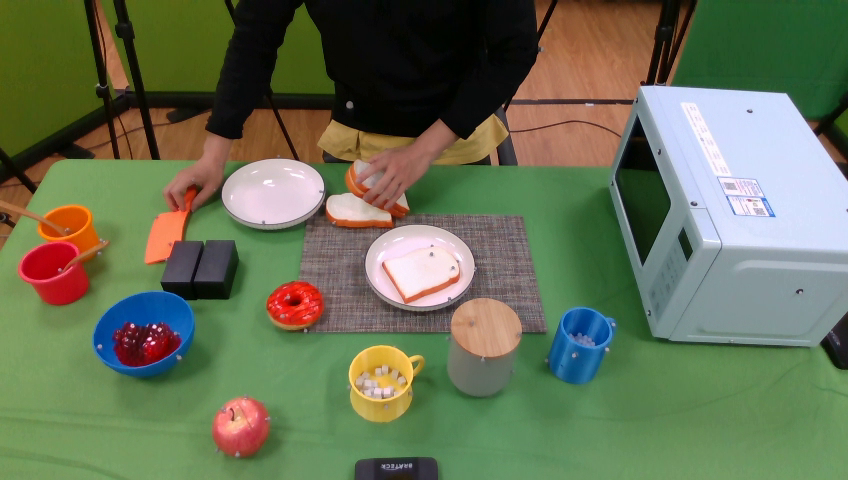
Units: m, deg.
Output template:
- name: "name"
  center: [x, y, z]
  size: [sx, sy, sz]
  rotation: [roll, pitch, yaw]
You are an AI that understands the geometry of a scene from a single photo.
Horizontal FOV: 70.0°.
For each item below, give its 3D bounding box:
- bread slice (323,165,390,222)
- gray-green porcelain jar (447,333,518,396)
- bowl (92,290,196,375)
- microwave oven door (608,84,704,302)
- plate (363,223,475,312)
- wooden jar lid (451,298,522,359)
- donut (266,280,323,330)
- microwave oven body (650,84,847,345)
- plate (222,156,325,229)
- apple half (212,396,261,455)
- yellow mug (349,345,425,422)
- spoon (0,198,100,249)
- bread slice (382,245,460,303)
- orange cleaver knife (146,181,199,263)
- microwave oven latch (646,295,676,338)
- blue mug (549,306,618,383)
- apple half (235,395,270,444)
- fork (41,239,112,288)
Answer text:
- name: "bread slice"
  center: [-0.140, -0.092, 1.224]
  size: [0.134, 0.018, 0.106]
  rotation: [-19, 51, 6]
- name: "gray-green porcelain jar"
  center: [0.091, 0.178, 0.960]
  size: [0.106, 0.127, 0.105]
  rotation: [2, 46, -2]
- name: "bowl"
  center: [-0.436, 0.161, 0.971]
  size: [0.151, 0.077, 0.150]
  rotation: [2, 46, -2]
- name: "microwave oven door"
  center: [0.424, -0.096, 1.138]
  size: [0.039, 0.245, 0.353]
  rotation: [3, 46, -1]
- name: "plate"
  center: [-0.009, 0.054, 1.126]
  size: [0.208, 0.039, 0.206]
  rotation: [2, 46, -2]
- name: "wooden jar lid"
  center: [0.093, 0.135, 0.914]
  size: [0.108, 0.021, 0.107]
  rotation: [3, 48, -3]
- name: "donut"
  center: [-0.223, 0.112, 1.051]
  size: [0.099, 0.048, 0.098]
  rotation: [2, 46, -2]
- name: "microwave oven body"
  center: [0.569, -0.054, 1.116]
  size: [0.326, 0.261, 0.439]
  rotation: [2, 46, -1]
- name: "plate"
  center: [-0.308, -0.095, 1.251]
  size: [0.209, 0.038, 0.208]
  rotation: [3, 46, -3]
- name: "apple half"
  center: [-0.276, 0.276, 0.877]
  size: [0.053, 0.075, 0.080]
  rotation: [-29, 58, -21]
- name: "yellow mug"
  center: [-0.054, 0.217, 0.954]
  size: [0.131, 0.064, 0.099]
  rotation: [-23, 52, -25]
- name: "spoon"
  center: [-0.684, -0.035, 1.092]
  size: [0.021, 0.195, 0.041]
  rotation: [-32, 42, 28]
- name: "bread slice"
  center: [0.000, 0.054, 1.129]
  size: [0.131, 0.019, 0.104]
  rotation: [-20, 52, -20]
- name: "orange cleaver knife"
  center: [-0.494, -0.039, 1.197]
  size: [0.077, 0.012, 0.210]
  rotation: [-6, 48, 5]
- name: "microwave oven latch"
  center: [0.413, 0.133, 1.060]
  size: [0.030, 0.029, 0.078]
  rotation: [4, 46, 1]
- name: "blue mug"
  center: [0.269, 0.167, 0.997]
  size: [0.116, 0.106, 0.082]
  rotation: [-19, 50, -21]
- name: "apple half"
  center: [-0.245, 0.259, 0.893]
  size: [0.033, 0.082, 0.081]
  rotation: [-29, 55, -22]
- name: "fork"
  center: [-0.591, 0.040, 1.028]
  size: [0.207, 0.019, 0.028]
  rotation: [-27, 37, 29]
